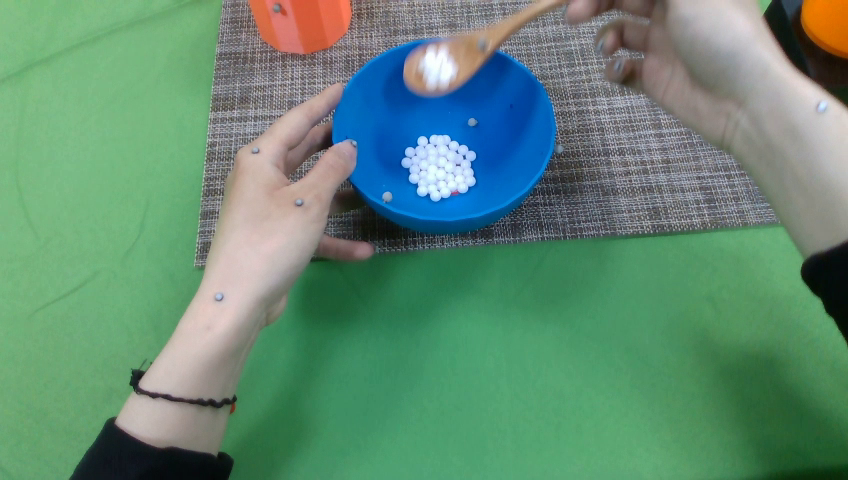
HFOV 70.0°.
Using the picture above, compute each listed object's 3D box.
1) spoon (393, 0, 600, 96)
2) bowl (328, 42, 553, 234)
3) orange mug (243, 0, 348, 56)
[{"bbox_3d":[0.069,-0.141,0.388,0.193,0.042,0.021,-19,42,15],"label":"spoon"},{"bbox_3d":[0.012,-0.061,0.437,0.151,0.077,0.150,0,64,1],"label":"bowl"},{"bbox_3d":[-0.111,-0.236,0.512,0.083,0.101,0.125,7,69,5],"label":"orange mug"}]
